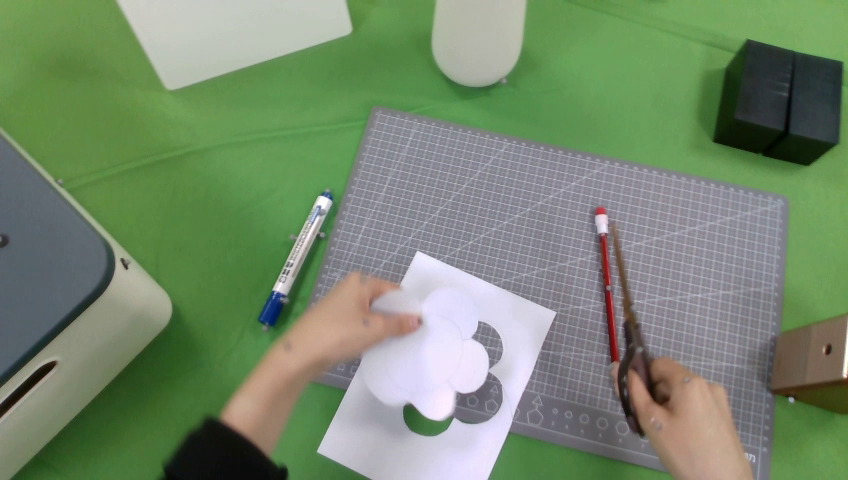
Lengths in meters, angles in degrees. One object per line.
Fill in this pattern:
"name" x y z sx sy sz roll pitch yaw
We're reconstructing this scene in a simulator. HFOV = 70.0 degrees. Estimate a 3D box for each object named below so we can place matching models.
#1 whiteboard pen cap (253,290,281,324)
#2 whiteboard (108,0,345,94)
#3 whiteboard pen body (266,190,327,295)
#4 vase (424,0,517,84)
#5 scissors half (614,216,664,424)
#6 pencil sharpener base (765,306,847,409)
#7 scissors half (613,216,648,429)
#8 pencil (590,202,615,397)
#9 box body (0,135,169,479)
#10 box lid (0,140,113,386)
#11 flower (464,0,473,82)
"whiteboard pen cap" -0.149 0.063 0.581 0.018 0.018 0.033 20 67 7
"whiteboard" -0.231 -0.341 0.600 0.217 0.308 0.142 -20 53 -6
"whiteboard pen body" -0.130 0.012 0.601 0.017 0.017 0.140 20 70 7
"vase" 0.048 -0.243 0.593 0.098 0.201 0.097 0 70 1
"scissors half" 0.177 0.065 0.508 0.040 0.012 0.175 -6 84 -46
"pencil sharpener base" 0.363 0.106 0.525 0.076 0.107 0.061 17 71 2
"scissors half" 0.163 0.063 0.494 0.013 0.040 0.174 -13 68 39
"pencil" 0.175 0.054 0.592 0.012 0.012 0.193 0 73 0
"box body" -0.441 0.021 0.520 0.362 0.161 0.254 39 76 12
"box lid" -0.442 -0.005 0.450 0.370 0.015 0.263 39 75 12
"flower" 0.043 -0.284 0.519 0.044 0.365 0.038 6 54 6
